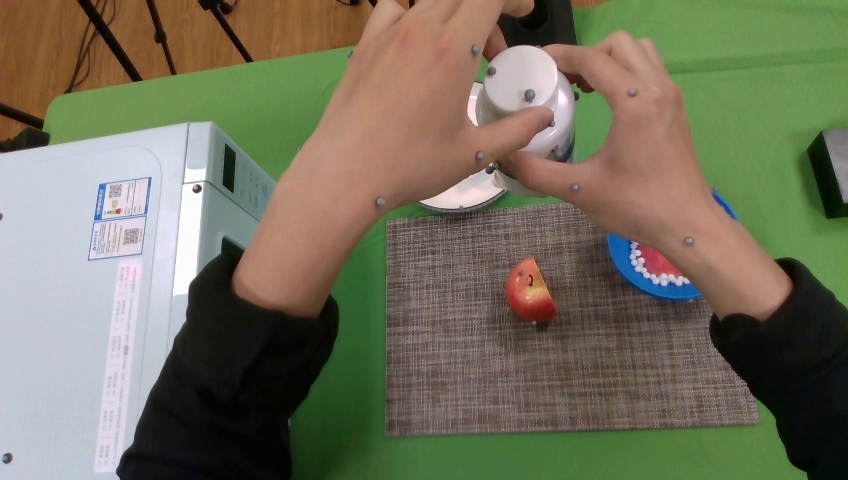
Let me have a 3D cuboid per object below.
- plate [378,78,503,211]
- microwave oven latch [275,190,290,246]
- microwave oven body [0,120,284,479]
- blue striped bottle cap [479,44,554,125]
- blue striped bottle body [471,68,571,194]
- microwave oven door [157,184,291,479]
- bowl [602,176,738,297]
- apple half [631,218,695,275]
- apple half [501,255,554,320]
[{"bbox_3d":[0.038,-0.135,0.880,0.207,0.039,0.206,-4,71,10],"label":"plate"},{"bbox_3d":[-0.210,-0.030,0.877,0.030,0.030,0.078,-7,71,9],"label":"microwave oven latch"},{"bbox_3d":[-0.366,0.122,0.754,0.325,0.262,0.438,-7,71,9],"label":"microwave oven body"},{"bbox_3d":[0.055,-0.093,0.359,0.044,0.021,0.044,-2,79,11],"label":"blue striped bottle cap"},{"bbox_3d":[0.068,-0.078,0.413,0.063,0.121,0.063,-3,76,14],"label":"blue striped bottle body"},{"bbox_3d":[-0.222,0.142,0.711,0.039,0.246,0.353,-7,70,10],"label":"microwave oven door"},{"bbox_3d":[0.296,0.005,0.750,0.151,0.077,0.150,-4,71,12],"label":"bowl"},{"bbox_3d":[0.296,0.005,0.745,0.081,0.033,0.080,-4,69,11],"label":"apple half"},{"bbox_3d":[0.126,0.066,0.769,0.053,0.075,0.080,-25,72,7],"label":"apple half"}]
